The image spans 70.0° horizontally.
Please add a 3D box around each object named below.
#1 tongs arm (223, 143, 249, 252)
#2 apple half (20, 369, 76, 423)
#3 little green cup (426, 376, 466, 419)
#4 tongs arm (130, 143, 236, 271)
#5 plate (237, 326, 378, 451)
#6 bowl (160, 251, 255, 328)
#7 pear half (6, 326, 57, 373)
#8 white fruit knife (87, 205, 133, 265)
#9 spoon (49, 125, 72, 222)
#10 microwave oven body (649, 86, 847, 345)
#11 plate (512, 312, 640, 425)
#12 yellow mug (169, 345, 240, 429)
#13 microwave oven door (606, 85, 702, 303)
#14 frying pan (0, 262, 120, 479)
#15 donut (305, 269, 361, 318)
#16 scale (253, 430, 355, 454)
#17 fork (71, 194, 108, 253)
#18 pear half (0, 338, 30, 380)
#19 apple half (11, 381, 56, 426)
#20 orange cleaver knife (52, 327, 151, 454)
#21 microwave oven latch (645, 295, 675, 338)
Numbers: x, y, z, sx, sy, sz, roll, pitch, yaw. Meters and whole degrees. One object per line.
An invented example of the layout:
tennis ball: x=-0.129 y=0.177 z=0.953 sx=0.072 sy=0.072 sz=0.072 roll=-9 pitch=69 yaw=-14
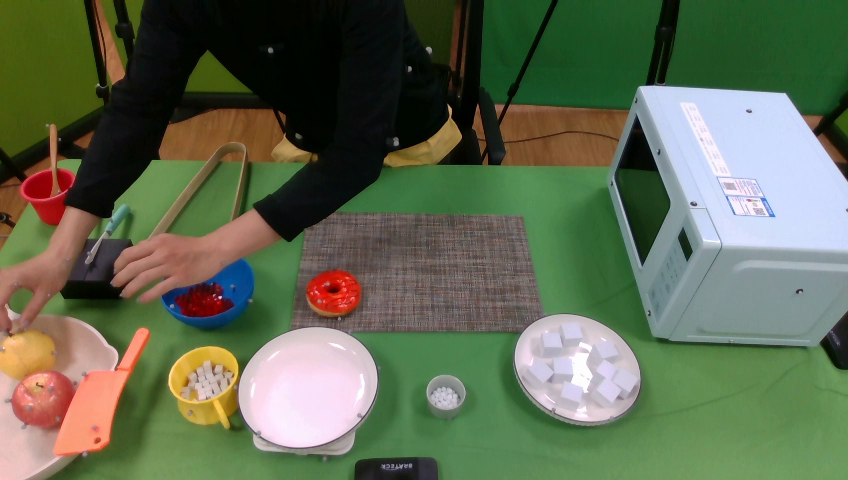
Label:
tongs arm: x=-0.396 y=-0.074 z=1.232 sx=0.051 sy=0.026 sz=0.382 roll=0 pitch=45 yaw=-2
apple half: x=-0.547 y=0.226 z=0.897 sx=0.080 sy=0.075 sz=0.053 roll=29 pitch=47 yaw=26
little green cup: x=0.033 y=0.248 z=0.950 sx=0.061 sy=0.039 sz=0.061 roll=2 pitch=46 yaw=-2
tongs arm: x=-0.482 y=-0.081 z=1.232 sx=0.028 sy=0.028 sz=0.385 roll=8 pitch=44 yaw=11
plate: x=-0.174 y=0.224 z=0.917 sx=0.209 sy=0.038 sz=0.208 roll=2 pitch=46 yaw=-2
bowl: x=-0.362 y=0.098 z=1.040 sx=0.151 sy=0.077 sz=0.150 roll=2 pitch=45 yaw=-2
pear half: x=-0.605 y=0.158 z=0.934 sx=0.076 sy=0.110 sz=0.056 roll=33 pitch=53 yaw=18
white fruit knife: x=-0.584 y=-0.013 z=1.129 sx=0.016 sy=0.027 sz=0.206 roll=0 pitch=31 yaw=-5
spoon: x=-0.718 y=-0.131 z=1.189 sx=0.041 sy=0.021 sz=0.193 roll=-3 pitch=91 yaw=-6
microwave oven body: x=0.567 y=-0.053 z=1.118 sx=0.326 sy=0.261 sz=0.439 roll=2 pitch=45 yaw=-1
plate: x=0.246 y=0.213 z=0.999 sx=0.208 sy=0.039 sz=0.206 roll=2 pitch=46 yaw=-2
yellow mug: x=-0.323 y=0.230 z=0.922 sx=0.100 sy=0.064 sz=0.130 roll=-24 pitch=53 yaw=-25
microwave oven door: x=0.422 y=-0.094 z=1.140 sx=0.039 sy=0.245 sz=0.353 roll=2 pitch=46 yaw=-1
frying pan: x=-0.647 y=0.164 z=0.936 sx=0.307 sy=0.103 sz=0.485 roll=-19 pitch=58 yaw=-22
donut: x=-0.160 y=0.094 z=1.075 sx=0.099 sy=0.048 sz=0.098 roll=4 pitch=45 yaw=-4
scale: x=-0.175 y=0.236 z=0.951 sx=0.149 sy=0.032 sz=0.199 roll=4 pitch=45 yaw=0
fork: x=-0.634 y=-0.035 z=1.158 sx=0.028 sy=0.019 sz=0.206 roll=-8 pitch=31 yaw=-8
pear half: x=-0.629 y=0.185 z=0.920 sx=0.070 sy=0.088 sz=0.031 roll=31 pitch=50 yaw=17
apple half: x=-0.570 y=0.246 z=0.875 sx=0.081 sy=0.081 sz=0.033 roll=32 pitch=49 yaw=24
orange cleaver knife: x=-0.462 y=0.212 z=0.879 sx=0.077 sy=0.012 sz=0.210 roll=6 pitch=45 yaw=-1
microwave oven latch: x=0.411 y=0.134 z=1.061 sx=0.030 sy=0.029 sz=0.078 roll=3 pitch=45 yaw=0
